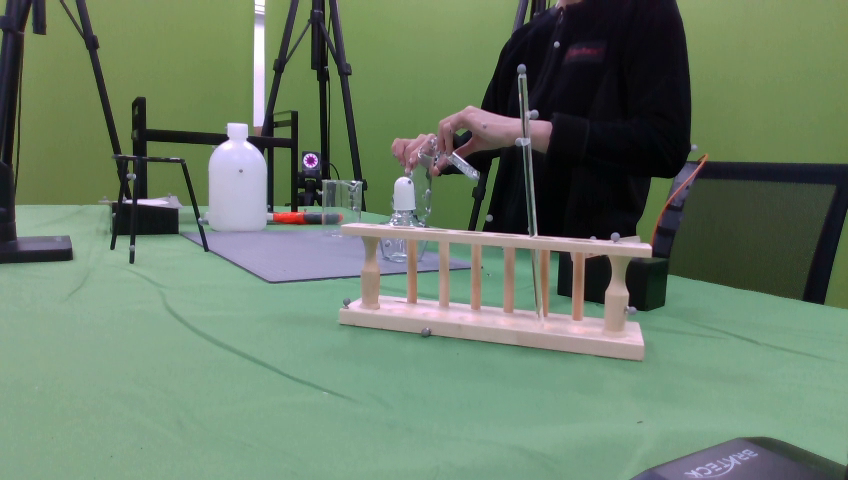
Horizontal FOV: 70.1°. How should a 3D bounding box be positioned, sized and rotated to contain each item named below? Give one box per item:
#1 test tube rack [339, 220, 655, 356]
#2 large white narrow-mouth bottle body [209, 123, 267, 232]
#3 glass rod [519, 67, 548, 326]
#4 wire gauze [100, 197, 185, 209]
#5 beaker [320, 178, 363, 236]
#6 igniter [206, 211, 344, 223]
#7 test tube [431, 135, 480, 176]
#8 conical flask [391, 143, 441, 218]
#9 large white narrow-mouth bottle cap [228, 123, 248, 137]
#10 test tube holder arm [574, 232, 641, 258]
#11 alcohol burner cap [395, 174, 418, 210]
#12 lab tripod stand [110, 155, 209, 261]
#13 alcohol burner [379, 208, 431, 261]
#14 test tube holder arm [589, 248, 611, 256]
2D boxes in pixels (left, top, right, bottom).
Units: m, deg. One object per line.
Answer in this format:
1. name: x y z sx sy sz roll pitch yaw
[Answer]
1. test tube rack: 0.056 0.032 0.495 0.242 0.085 0.067 4 7 15
2. large white narrow-mouth bottle body: -0.340 -0.115 1.109 0.102 0.194 0.102 2 8 0
3. glass rod: 0.084 -0.029 0.459 0.008 0.199 0.008 -7 11 2
4. wire gauze: -0.469 -0.062 1.008 0.126 0.011 0.121 -2 8 -25
5. beaker: -0.145 -0.059 1.078 0.074 0.100 0.083 -4 10 -36
6. igniter: -0.302 -0.048 1.249 0.278 0.025 0.057 -2 -2 -26
7. test tube: 0.046 -0.128 0.907 0.017 0.017 0.149 -1 27 -25
8. conical flask: -0.007 -0.105 1.032 0.075 0.122 0.075 14 36 -10
9. large white narrow-mouth bottle cap: -0.338 -0.199 1.097 0.038 0.024 0.037 2 8 0
10. test tube holder arm: 0.202 0.003 0.651 0.013 0.015 0.179 -3 2 36
11. alcohol burner cap: -0.026 -0.067 0.833 0.034 0.048 0.034 -2 12 1
12. lab tripod stand: -0.361 -0.046 0.806 0.148 0.131 0.148 2 5 0
13. alcohol burner: -0.027 -0.031 0.838 0.078 0.119 0.078 0 6 0
14. test tube holder arm: 0.180 0.006 0.611 0.010 0.015 0.088 -3 2 36
